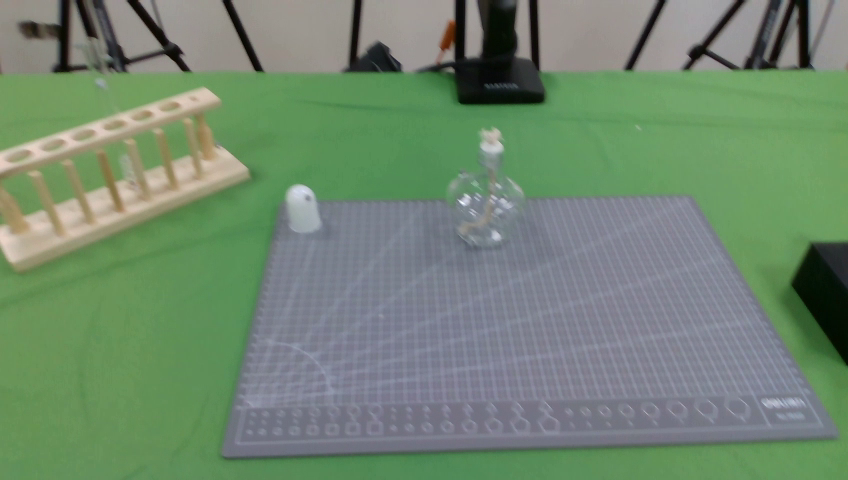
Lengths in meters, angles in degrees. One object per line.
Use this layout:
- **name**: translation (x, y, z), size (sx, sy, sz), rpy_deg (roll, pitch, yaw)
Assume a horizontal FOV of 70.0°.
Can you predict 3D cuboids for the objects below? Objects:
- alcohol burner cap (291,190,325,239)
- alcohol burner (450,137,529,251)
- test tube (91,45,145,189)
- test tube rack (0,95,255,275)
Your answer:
- **alcohol burner cap**: translation (-0.118, -0.029, 0.610), size (0.034, 0.048, 0.033), rpy_deg (1, 41, -1)
- **alcohol burner**: translation (0.064, -0.048, 0.582), size (0.078, 0.120, 0.077), rpy_deg (1, 42, -1)
- **test tube**: translation (-0.303, -0.118, 0.606), size (0.017, 0.151, 0.017), rpy_deg (1, 34, 0)
- **test tube rack**: translation (-0.304, -0.064, 0.618), size (0.242, 0.086, 0.066), rpy_deg (-28, 48, -30)
